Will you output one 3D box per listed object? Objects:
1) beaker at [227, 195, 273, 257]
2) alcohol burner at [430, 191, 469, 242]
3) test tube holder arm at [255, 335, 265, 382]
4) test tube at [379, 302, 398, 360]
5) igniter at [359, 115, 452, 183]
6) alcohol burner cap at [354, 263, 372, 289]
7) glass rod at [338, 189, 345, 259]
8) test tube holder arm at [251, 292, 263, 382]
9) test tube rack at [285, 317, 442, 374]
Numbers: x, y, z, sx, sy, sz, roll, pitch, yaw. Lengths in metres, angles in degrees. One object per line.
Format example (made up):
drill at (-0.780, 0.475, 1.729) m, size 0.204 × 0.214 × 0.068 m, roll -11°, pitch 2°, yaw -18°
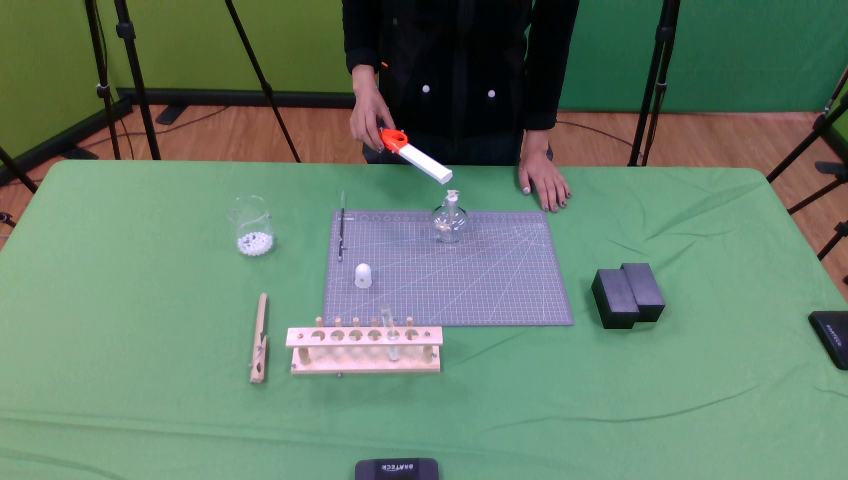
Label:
beaker at (-0.326, -0.022, 1.142) m, size 0.074 × 0.101 × 0.083 m, roll 10°, pitch 47°, yaw 6°
alcohol burner at (0.051, -0.053, 1.185) m, size 0.078 × 0.119 × 0.077 m, roll 2°, pitch 48°, yaw -2°
test tube holder arm at (-0.270, 0.193, 0.997) m, size 0.010 × 0.015 × 0.087 m, roll 24°, pitch 36°, yaw -32°
test tube at (-0.054, 0.145, 0.943) m, size 0.017 × 0.151 × 0.017 m, roll -2°, pitch 49°, yaw 3°
igniter at (-0.046, -0.190, 1.228) m, size 0.057 × 0.025 × 0.275 m, roll -36°, pitch 53°, yaw -22°
alcohol burner cap at (-0.113, 0.063, 1.111) m, size 0.034 × 0.048 × 0.033 m, roll 2°, pitch 46°, yaw -2°
glass rod at (-0.166, -0.036, 1.227) m, size 0.008 × 0.008 × 0.198 m, roll -1°, pitch 47°, yaw -4°
test tube holder arm at (-0.282, 0.159, 1.025) m, size 0.013 × 0.015 × 0.177 m, roll 23°, pitch 36°, yaw -33°
test tube rack at (-0.095, 0.166, 0.988) m, size 0.242 × 0.085 × 0.066 m, roll 0°, pitch 46°, yaw -4°
